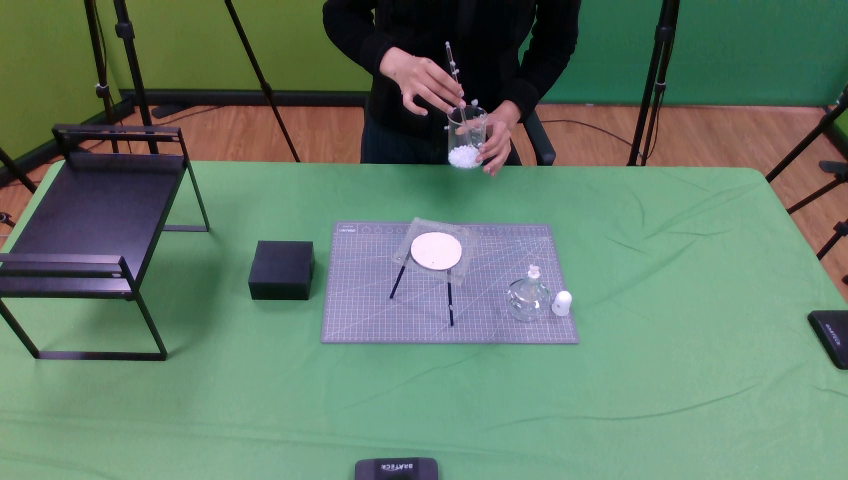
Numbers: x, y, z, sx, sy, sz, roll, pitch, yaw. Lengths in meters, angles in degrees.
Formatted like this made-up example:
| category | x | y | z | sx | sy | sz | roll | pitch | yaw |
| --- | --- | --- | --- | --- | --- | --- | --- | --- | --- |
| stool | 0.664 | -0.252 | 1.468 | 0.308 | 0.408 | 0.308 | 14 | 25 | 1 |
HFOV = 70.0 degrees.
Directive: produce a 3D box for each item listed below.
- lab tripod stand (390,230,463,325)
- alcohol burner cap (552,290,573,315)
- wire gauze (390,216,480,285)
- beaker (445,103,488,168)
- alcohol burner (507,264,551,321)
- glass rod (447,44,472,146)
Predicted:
| category | x | y | z | sx | sy | sz | roll | pitch | yaw |
| --- | --- | --- | --- | --- | --- | --- | --- | --- | --- |
| lab tripod stand | 0.014 | 0.060 | 1.056 | 0.148 | 0.132 | 0.147 | 1 | 48 | -1 |
| alcohol burner cap | 0.251 | 0.109 | 1.088 | 0.034 | 0.048 | 0.033 | 2 | 47 | -2 |
| wire gauze | 0.020 | 0.012 | 1.009 | 0.125 | 0.011 | 0.121 | 16 | 47 | 12 |
| beaker | 0.080 | -0.190 | 1.119 | 0.074 | 0.101 | 0.083 | -18 | 44 | -19 |
| alcohol burner | 0.185 | 0.086 | 1.056 | 0.078 | 0.120 | 0.077 | 1 | 47 | -1 |
| glass rod | 0.064 | -0.249 | 1.063 | 0.008 | 0.201 | 0.008 | -10 | 40 | 9 |
